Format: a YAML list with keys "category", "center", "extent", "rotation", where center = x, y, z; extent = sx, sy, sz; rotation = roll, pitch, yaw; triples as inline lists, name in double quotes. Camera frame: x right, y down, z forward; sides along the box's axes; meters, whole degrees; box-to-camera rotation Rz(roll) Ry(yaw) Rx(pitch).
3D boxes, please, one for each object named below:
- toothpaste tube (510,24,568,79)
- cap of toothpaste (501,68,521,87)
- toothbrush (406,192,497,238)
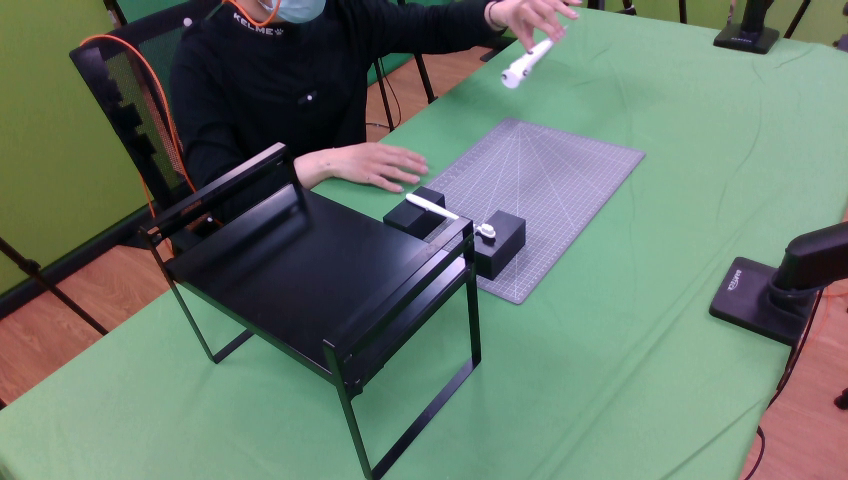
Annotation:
- category: "toothpaste tube"
  center: [0.203, -0.335, 1.086]
  extent: [0.034, 0.055, 0.165]
  rotation: [47, 62, -4]
- category: "cap of toothpaste"
  center: [0.151, -0.284, 1.049]
  extent: [0.037, 0.037, 0.011]
  rotation: [18, 48, 26]
- category: "toothbrush"
  center: [0.038, -0.043, 0.937]
  extent: [0.180, 0.017, 0.014]
  rotation: [26, 64, 35]
